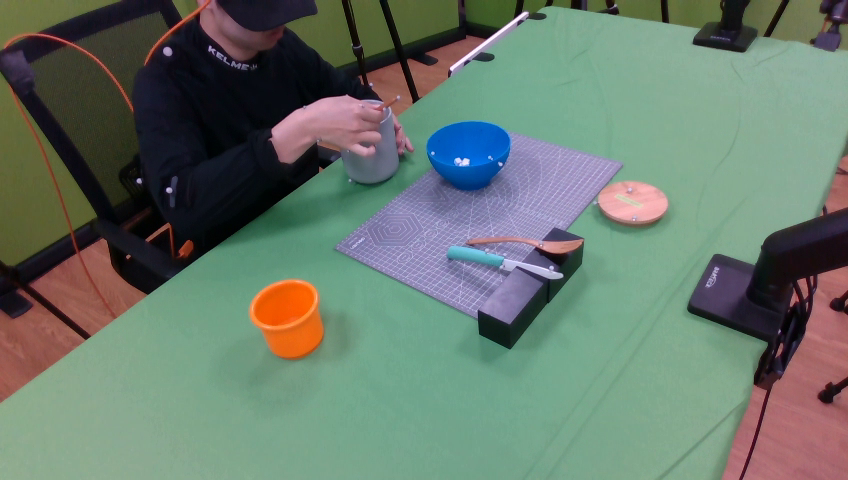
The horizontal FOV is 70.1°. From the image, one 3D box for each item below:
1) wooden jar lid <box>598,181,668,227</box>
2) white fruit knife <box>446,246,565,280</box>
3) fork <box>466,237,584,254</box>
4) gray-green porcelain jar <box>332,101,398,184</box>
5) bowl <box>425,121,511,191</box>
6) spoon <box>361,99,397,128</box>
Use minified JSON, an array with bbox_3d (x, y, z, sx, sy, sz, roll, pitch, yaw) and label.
[{"bbox_3d":[0.340,-0.058,0.989,0.108,0.021,0.108,-5,41,5],"label":"wooden jar lid"},{"bbox_3d":[0.111,0.033,0.868,0.205,0.027,0.016,11,44,40],"label":"white fruit knife"},{"bbox_3d":[0.142,0.005,0.894,0.205,0.019,0.028,4,43,41],"label":"fork"},{"bbox_3d":[-0.105,-0.174,1.108,0.106,0.127,0.105,-4,40,4],"label":"gray-green porcelain jar"},{"bbox_3d":[0.081,-0.141,1.074,0.151,0.077,0.150,-4,40,4],"label":"bowl"},{"bbox_3d":[-0.089,-0.210,1.048,0.042,0.021,0.193,-18,-4,-25],"label":"spoon"}]
